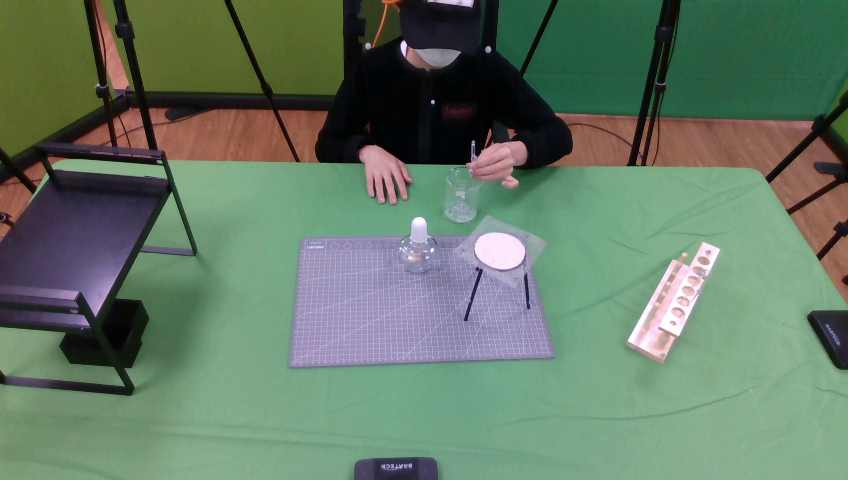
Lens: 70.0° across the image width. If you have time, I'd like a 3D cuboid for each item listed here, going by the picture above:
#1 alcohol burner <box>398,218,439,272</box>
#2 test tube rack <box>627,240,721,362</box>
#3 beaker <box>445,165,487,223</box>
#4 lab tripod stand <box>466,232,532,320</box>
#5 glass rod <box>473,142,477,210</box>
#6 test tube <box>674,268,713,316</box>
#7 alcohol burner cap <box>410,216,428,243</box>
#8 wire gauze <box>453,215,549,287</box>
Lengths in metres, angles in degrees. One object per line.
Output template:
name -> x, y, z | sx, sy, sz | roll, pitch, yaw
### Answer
alcohol burner -> -0.010, 0.004, 1.123 | 0.078, 0.120, 0.077 | 1, 47, 0
test tube rack -> 0.452, 0.098, 1.087 | 0.066, 0.085, 0.242 | 28, 51, 22
beaker -> 0.082, -0.092, 1.236 | 0.084, 0.101, 0.073 | -7, 48, -11
lab tripod stand -> 0.125, 0.059, 1.065 | 0.148, 0.132, 0.147 | 1, 45, 0
glass rod -> 0.100, -0.121, 1.187 | 0.008, 0.201, 0.008 | -2, 55, 3
test tube -> 0.445, 0.098, 1.017 | 0.017, 0.151, 0.017 | 4, 48, -4
alcohol burner cap -> -0.009, -0.022, 1.099 | 0.034, 0.048, 0.033 | 2, 41, -1
wire gauze -> 0.129, 0.012, 1.017 | 0.124, 0.011, 0.121 | 28, 50, 23
